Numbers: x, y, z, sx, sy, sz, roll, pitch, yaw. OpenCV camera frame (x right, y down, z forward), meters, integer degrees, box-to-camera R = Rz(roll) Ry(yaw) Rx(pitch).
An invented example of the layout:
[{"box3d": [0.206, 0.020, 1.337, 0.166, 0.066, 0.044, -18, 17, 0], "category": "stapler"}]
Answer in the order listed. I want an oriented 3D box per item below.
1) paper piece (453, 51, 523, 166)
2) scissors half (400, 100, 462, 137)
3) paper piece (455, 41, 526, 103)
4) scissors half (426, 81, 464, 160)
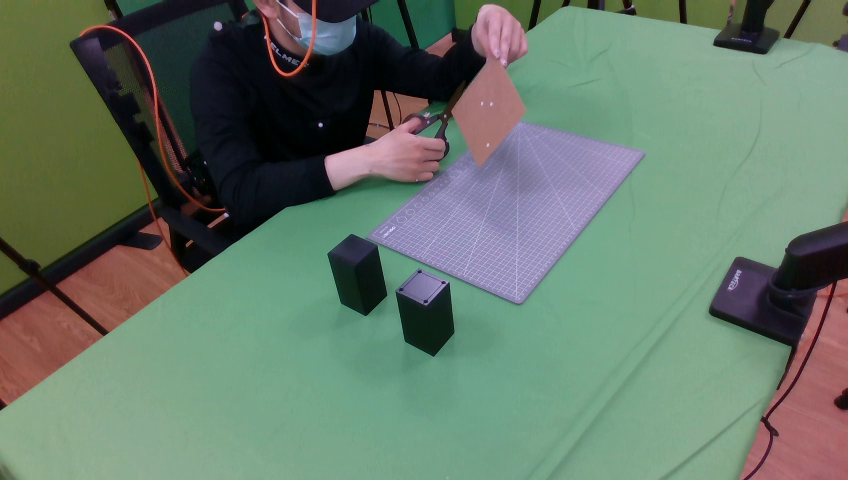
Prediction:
[{"box3d": [0.100, -0.214, 0.991, 0.004, 0.135, 0.135, 1, 55, -34], "category": "paper piece"}, {"box3d": [0.023, -0.227, 1.078, 0.174, 0.040, 0.013, -16, 30, 37], "category": "scissors half"}, {"box3d": [0.116, -0.296, 1.081, 0.008, 0.135, 0.139, 49, 39, 3], "category": "paper piece"}, {"box3d": [0.041, -0.211, 1.081, 0.040, 0.175, 0.013, 28, 44, 8], "category": "scissors half"}]
